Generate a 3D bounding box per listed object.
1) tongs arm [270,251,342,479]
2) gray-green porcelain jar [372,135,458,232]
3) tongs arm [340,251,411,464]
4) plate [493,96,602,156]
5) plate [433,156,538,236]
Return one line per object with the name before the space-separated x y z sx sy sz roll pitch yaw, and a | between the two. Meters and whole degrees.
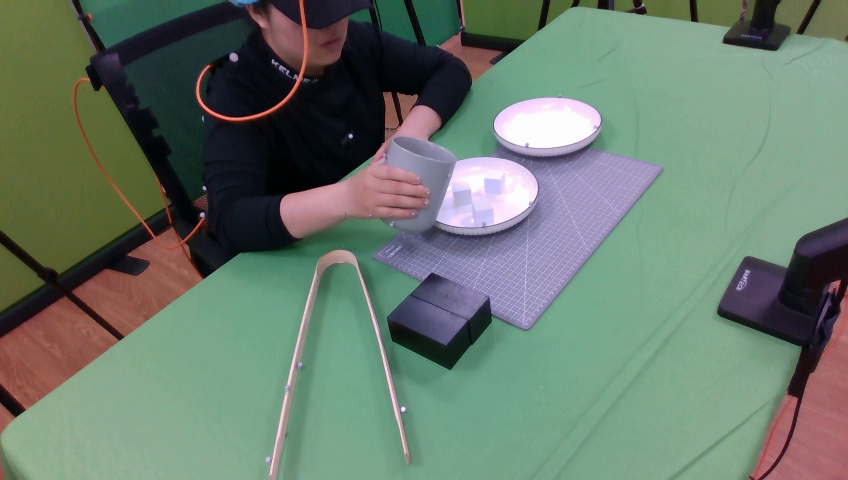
tongs arm | -0.152 0.148 0.826 0.051 0.026 0.382 -6 39 3
gray-green porcelain jar | -0.018 -0.083 0.928 0.106 0.126 0.105 17 22 -6
tongs arm | -0.070 0.136 0.830 0.028 0.028 0.384 -18 40 -5
plate | 0.238 -0.218 1.180 0.209 0.038 0.208 -5 39 4
plate | 0.090 -0.072 1.034 0.207 0.039 0.206 -5 40 5
